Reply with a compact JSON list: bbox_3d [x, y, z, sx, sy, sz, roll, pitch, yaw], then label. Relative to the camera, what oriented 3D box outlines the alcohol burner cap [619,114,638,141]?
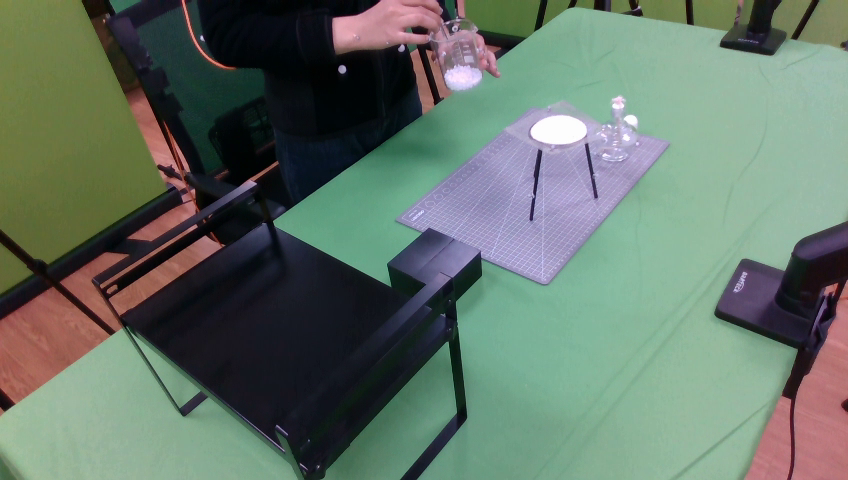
[{"bbox_3d":[0.389,-0.215,1.145,0.034,0.048,0.033,-4,41,4],"label":"alcohol burner cap"}]

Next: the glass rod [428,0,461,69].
[{"bbox_3d":[0.027,-0.359,0.994,0.008,0.201,0.008,-14,51,18],"label":"glass rod"}]

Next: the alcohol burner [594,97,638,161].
[{"bbox_3d":[0.345,-0.203,1.083,0.078,0.119,0.077,-5,43,5],"label":"alcohol burner"}]

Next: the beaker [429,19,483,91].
[{"bbox_3d":[0.061,-0.314,1.032,0.083,0.101,0.074,0,45,20],"label":"beaker"}]

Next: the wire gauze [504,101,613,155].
[{"bbox_3d":[0.211,-0.177,0.955,0.125,0.011,0.120,-24,44,-18],"label":"wire gauze"}]

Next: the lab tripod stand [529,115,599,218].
[{"bbox_3d":[0.217,-0.123,0.995,0.148,0.132,0.147,-4,43,4],"label":"lab tripod stand"}]
